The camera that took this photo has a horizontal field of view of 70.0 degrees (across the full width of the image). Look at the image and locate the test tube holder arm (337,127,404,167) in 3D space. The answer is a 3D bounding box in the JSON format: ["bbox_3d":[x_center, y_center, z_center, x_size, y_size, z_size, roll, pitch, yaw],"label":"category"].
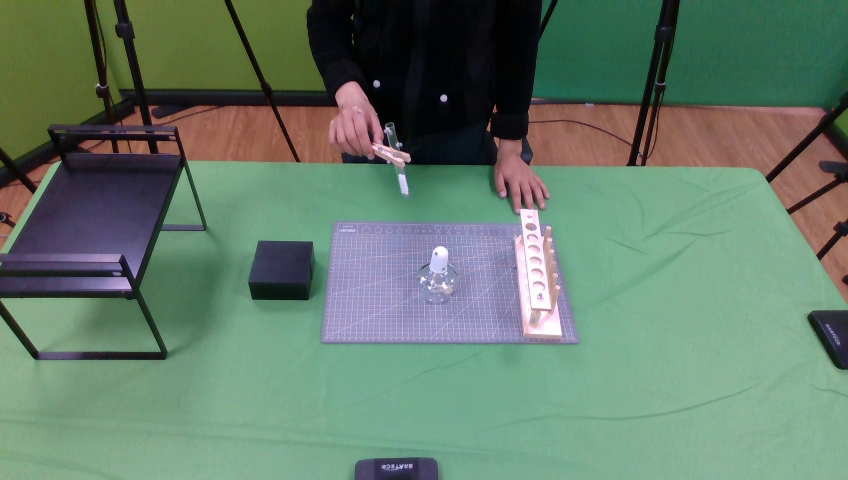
[{"bbox_3d":[-0.098,-0.166,1.063,0.013,0.015,0.177,-38,48,-28],"label":"test tube holder arm"}]

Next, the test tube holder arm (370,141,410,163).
[{"bbox_3d":[-0.061,-0.152,1.041,0.087,0.015,0.010,23,52,31],"label":"test tube holder arm"}]

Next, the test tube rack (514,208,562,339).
[{"bbox_3d":[0.212,0.056,1.113,0.067,0.085,0.241,3,46,-1],"label":"test tube rack"}]

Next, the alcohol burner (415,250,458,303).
[{"bbox_3d":[0.024,0.057,1.078,0.078,0.119,0.077,3,44,-3],"label":"alcohol burner"}]

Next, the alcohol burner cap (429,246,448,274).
[{"bbox_3d":[0.027,0.032,1.052,0.034,0.048,0.033,4,40,-3],"label":"alcohol burner cap"}]

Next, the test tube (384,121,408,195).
[{"bbox_3d":[-0.046,-0.136,1.031,0.017,0.151,0.017,-7,44,6],"label":"test tube"}]
